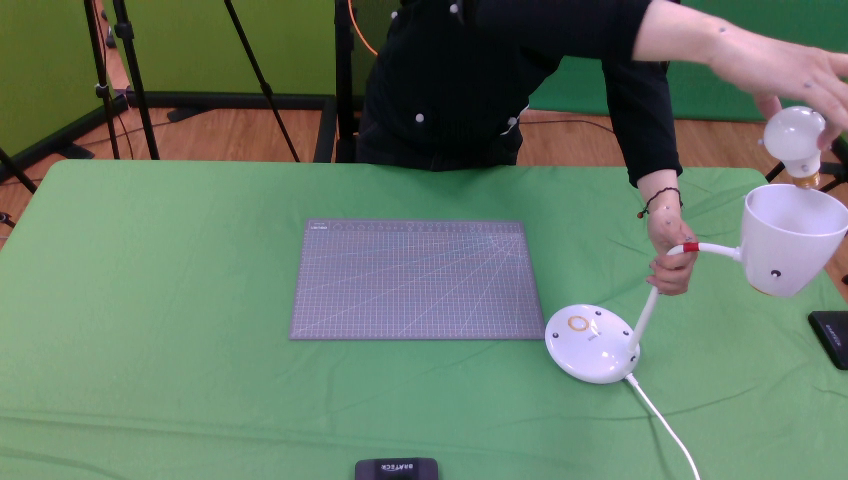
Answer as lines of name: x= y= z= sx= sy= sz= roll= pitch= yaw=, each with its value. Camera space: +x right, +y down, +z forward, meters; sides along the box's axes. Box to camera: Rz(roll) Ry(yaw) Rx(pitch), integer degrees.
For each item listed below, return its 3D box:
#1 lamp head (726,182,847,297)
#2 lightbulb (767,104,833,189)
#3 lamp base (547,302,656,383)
lamp head: x=0.429 y=0.006 z=0.725 sx=0.112 sy=0.123 sz=0.111 roll=1 pitch=39 yaw=0
lightbulb: x=0.409 y=-0.097 z=0.653 sx=0.059 sy=0.108 sz=0.059 roll=-25 pitch=33 yaw=18
lamp base: x=0.304 y=0.127 z=0.982 sx=0.160 sy=0.181 sz=0.178 roll=-33 pitch=59 yaw=-29
